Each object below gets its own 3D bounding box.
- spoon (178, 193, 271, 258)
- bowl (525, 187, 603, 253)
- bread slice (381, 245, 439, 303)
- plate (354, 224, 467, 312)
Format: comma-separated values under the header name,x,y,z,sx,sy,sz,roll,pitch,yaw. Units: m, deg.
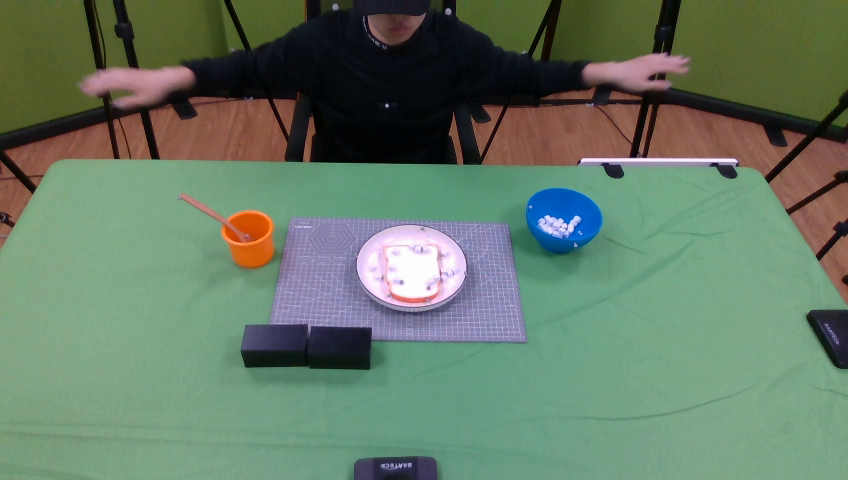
name,x,y,z,sx,sy,sz,roll,pitch,yaw
spoon,-0.362,-0.028,1.109,0.021,0.195,0.041,-30,32,31
bowl,0.271,-0.028,1.207,0.151,0.077,0.150,2,46,-2
bread slice,-0.022,0.061,1.126,0.107,0.018,0.133,-3,45,-8
plate,-0.025,0.055,1.128,0.209,0.038,0.208,3,46,-3
